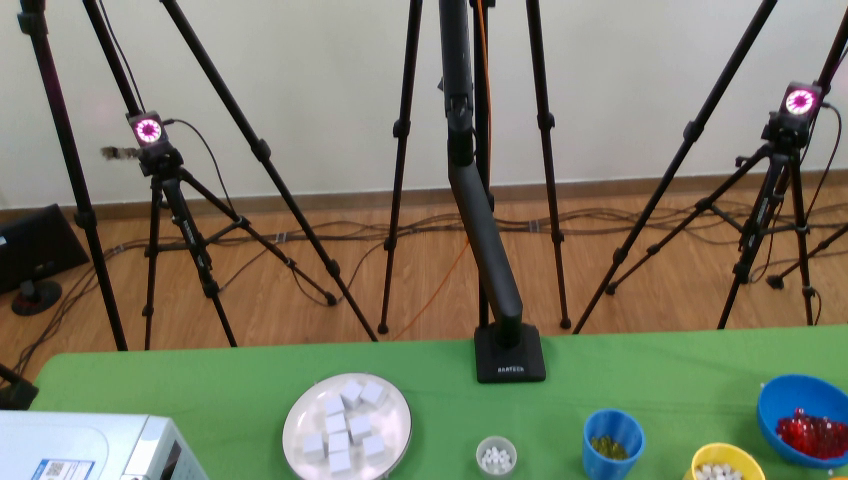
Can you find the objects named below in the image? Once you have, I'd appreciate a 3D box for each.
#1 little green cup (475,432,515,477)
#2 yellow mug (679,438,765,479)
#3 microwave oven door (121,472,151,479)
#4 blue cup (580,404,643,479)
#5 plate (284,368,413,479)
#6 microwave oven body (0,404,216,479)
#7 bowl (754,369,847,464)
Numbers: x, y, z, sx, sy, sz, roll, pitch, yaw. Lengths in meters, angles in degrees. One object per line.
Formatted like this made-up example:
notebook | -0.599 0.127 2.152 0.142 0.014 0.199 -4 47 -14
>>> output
little green cup | 0.110 0.333 0.933 0.061 0.039 0.061 -2 42 3
yellow mug | 0.415 0.353 0.865 0.131 0.064 0.099 -33 50 -26
microwave oven door | -0.336 0.468 0.644 0.039 0.246 0.352 0 43 5
blue cup | 0.272 0.307 0.901 0.092 0.101 0.091 -2 45 2
plate | -0.120 0.304 0.983 0.207 0.039 0.205 -2 43 2
microwave oven body | -0.479 0.444 0.690 0.326 0.262 0.437 1 44 4
bowl | 0.575 0.281 0.922 0.151 0.077 0.150 -3 44 3
